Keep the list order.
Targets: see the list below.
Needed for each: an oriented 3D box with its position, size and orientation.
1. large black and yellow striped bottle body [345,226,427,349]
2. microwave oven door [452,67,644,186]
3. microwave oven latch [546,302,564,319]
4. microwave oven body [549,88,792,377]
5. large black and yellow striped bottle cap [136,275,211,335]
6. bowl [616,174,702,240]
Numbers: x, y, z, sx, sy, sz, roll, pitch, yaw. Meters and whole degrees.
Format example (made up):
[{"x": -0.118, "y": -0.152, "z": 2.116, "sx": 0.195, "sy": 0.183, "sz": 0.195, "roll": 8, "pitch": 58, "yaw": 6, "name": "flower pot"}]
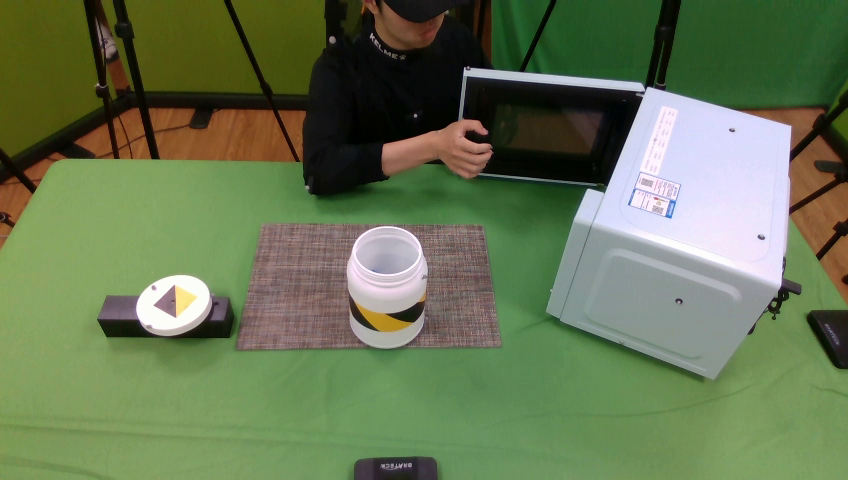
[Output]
[{"x": -0.062, "y": 0.078, "z": 0.998, "sx": 0.131, "sy": 0.185, "sz": 0.130, "roll": 2, "pitch": 46, "yaw": -2, "name": "large black and yellow striped bottle body"}, {"x": 0.246, "y": -0.230, "z": 1.261, "sx": 0.356, "sy": 0.245, "sz": 0.039, "roll": 5, "pitch": 46, "yaw": 1, "name": "microwave oven door"}, {"x": 0.242, "y": 0.102, "z": 1.081, "sx": 0.030, "sy": 0.029, "sz": 0.079, "roll": 21, "pitch": 48, "yaw": 17, "name": "microwave oven latch"}, {"x": 0.456, "y": -0.028, "z": 1.088, "sx": 0.325, "sy": 0.261, "sz": 0.440, "roll": 20, "pitch": 47, "yaw": 16, "name": "microwave oven body"}, {"x": -0.412, "y": 0.105, "z": 0.998, "sx": 0.115, "sy": 0.019, "sz": 0.114, "roll": 3, "pitch": 47, "yaw": -3, "name": "large black and yellow striped bottle cap"}, {"x": 0.436, "y": -0.053, "z": 1.142, "sx": 0.151, "sy": 0.077, "sz": 0.150, "roll": -3, "pitch": 37, "yaw": 2, "name": "bowl"}]
